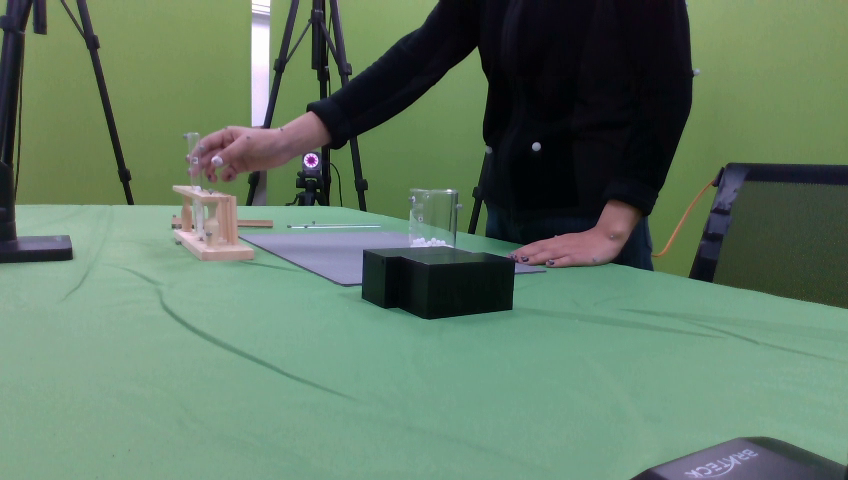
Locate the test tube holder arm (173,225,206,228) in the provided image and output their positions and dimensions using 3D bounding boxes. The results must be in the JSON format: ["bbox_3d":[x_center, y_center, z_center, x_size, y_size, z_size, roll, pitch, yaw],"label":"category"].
[{"bbox_3d":[-0.415,-0.029,1.113,0.088,0.015,0.010,0,-27,-25],"label":"test tube holder arm"}]

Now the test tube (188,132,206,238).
[{"bbox_3d":[-0.323,-0.078,0.863,0.017,0.150,0.017,-2,7,1],"label":"test tube"}]

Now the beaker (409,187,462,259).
[{"bbox_3d":[0.013,-0.027,0.884,0.074,0.100,0.083,0,7,-23],"label":"beaker"}]

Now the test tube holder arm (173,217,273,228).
[{"bbox_3d":[-0.372,-0.031,1.129,0.179,0.015,0.013,1,-27,-27],"label":"test tube holder arm"}]

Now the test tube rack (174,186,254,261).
[{"bbox_3d":[-0.314,-0.031,0.889,0.067,0.085,0.241,-2,8,-30],"label":"test tube rack"}]

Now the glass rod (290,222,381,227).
[{"bbox_3d":[-0.178,-0.033,1.247,0.201,0.008,0.008,-2,8,-30],"label":"glass rod"}]
